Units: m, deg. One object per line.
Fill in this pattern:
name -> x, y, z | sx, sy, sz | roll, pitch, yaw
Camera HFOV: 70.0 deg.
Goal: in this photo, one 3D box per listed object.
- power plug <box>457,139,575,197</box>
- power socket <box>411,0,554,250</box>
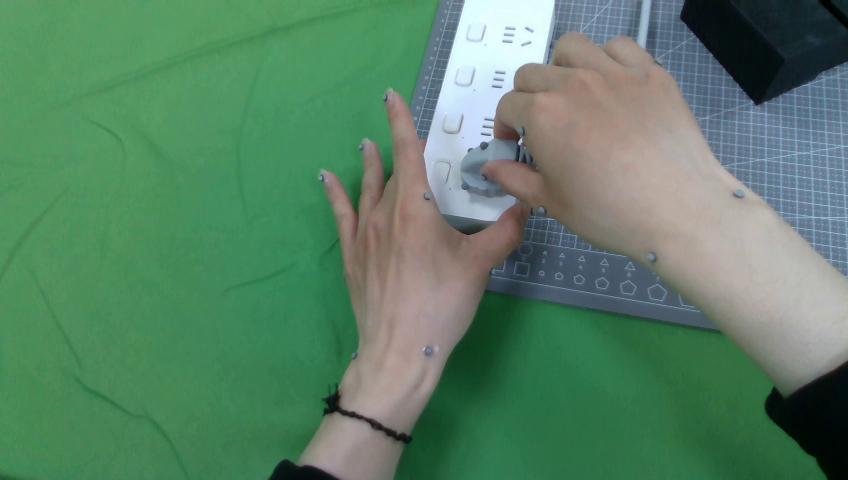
power plug -> 0.056, -0.039, 0.394 | 0.072, 0.053, 0.035 | 21, 69, 16
power socket -> 0.047, -0.101, 0.450 | 0.072, 0.033, 0.225 | 10, 67, 11
